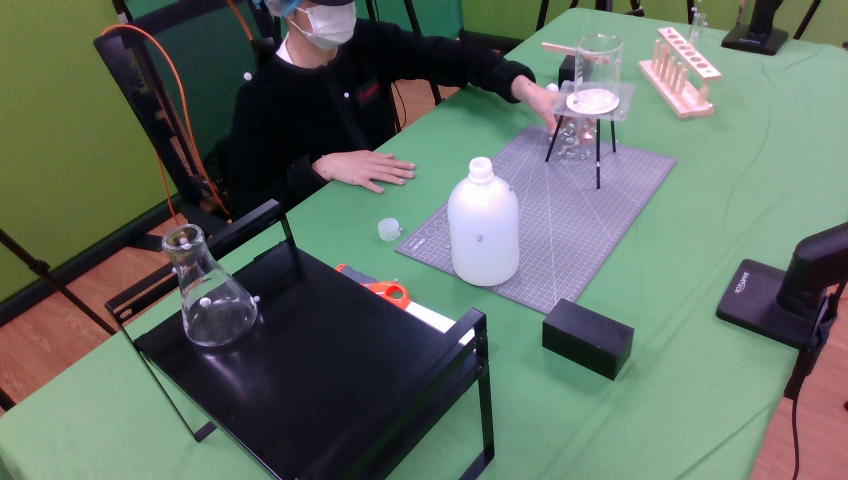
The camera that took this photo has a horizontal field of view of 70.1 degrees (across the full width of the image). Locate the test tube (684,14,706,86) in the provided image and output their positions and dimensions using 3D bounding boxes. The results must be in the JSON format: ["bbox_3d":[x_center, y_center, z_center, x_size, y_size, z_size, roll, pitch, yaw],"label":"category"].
[{"bbox_3d":[0.540,-0.378,1.215,0.017,0.151,0.017,-2,44,3],"label":"test tube"}]

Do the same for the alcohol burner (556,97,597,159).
[{"bbox_3d":[0.282,-0.210,1.109,0.078,0.119,0.077,-5,43,5],"label":"alcohol burner"}]

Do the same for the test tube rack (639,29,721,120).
[{"bbox_3d":[0.527,-0.351,1.262,0.067,0.085,0.241,-8,40,1],"label":"test tube rack"}]

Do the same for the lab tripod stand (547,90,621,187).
[{"bbox_3d":[0.289,-0.184,1.062,0.148,0.132,0.147,-6,41,6],"label":"lab tripod stand"}]

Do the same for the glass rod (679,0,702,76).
[{"bbox_3d":[0.543,-0.417,1.233,0.008,0.200,0.008,1,39,0],"label":"glass rod"}]

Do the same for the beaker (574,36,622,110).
[{"bbox_3d":[0.285,-0.273,0.990,0.073,0.101,0.084,15,46,27],"label":"beaker"}]

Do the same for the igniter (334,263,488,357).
[{"bbox_3d":[-0.030,0.095,0.872,0.274,0.025,0.057,23,60,31],"label":"igniter"}]

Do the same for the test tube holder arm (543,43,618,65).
[{"bbox_3d":[0.345,-0.413,1.340,0.177,0.015,0.013,25,50,31],"label":"test tube holder arm"}]

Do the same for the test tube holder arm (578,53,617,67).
[{"bbox_3d":[0.376,-0.393,1.314,0.087,0.015,0.010,26,51,32],"label":"test tube holder arm"}]

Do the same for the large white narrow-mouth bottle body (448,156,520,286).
[{"bbox_3d":[0.086,-0.032,0.869,0.102,0.195,0.101,-4,40,4],"label":"large white narrow-mouth bottle body"}]

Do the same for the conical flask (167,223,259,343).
[{"bbox_3d":[-0.220,0.041,0.613,0.075,0.122,0.075,-5,40,4],"label":"conical flask"}]

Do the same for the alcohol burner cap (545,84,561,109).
[{"bbox_3d":[0.274,-0.308,1.285,0.034,0.048,0.033,-6,42,6],"label":"alcohol burner cap"}]

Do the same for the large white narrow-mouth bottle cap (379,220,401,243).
[{"bbox_3d":[-0.057,-0.015,1.011,0.038,0.024,0.037,-4,40,4],"label":"large white narrow-mouth bottle cap"}]

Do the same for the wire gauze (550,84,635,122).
[{"bbox_3d":[0.285,-0.234,1.021,0.124,0.011,0.121,8,41,23],"label":"wire gauze"}]
